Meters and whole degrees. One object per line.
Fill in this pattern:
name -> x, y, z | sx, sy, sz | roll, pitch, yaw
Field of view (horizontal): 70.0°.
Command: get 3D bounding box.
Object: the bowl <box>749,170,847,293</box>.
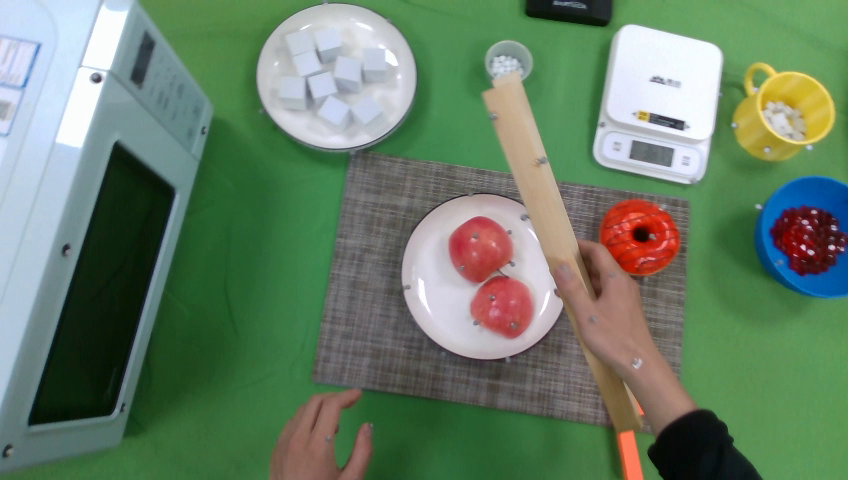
bowl -> 0.470, -0.004, 0.759 | 0.151, 0.077, 0.150 | 0, 79, -2

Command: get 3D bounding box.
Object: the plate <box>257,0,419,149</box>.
plate -> -0.111, -0.216, 0.799 | 0.208, 0.039, 0.206 | 1, 79, -2

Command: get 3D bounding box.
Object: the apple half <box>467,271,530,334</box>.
apple half -> 0.093, 0.073, 0.739 | 0.081, 0.033, 0.081 | 0, 80, 1

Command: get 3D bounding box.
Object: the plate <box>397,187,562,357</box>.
plate -> 0.070, 0.040, 0.751 | 0.209, 0.038, 0.208 | 1, 79, -2

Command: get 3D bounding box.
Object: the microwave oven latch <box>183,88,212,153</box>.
microwave oven latch -> -0.290, -0.152, 0.760 | 0.030, 0.029, 0.079 | 13, 79, 0

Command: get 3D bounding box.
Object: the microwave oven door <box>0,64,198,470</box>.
microwave oven door -> -0.331, 0.037, 0.618 | 0.039, 0.244, 0.354 | 11, 78, 1

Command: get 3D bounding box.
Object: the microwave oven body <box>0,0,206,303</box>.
microwave oven body -> -0.467, -0.031, 0.631 | 0.326, 0.261, 0.440 | 11, 79, 0

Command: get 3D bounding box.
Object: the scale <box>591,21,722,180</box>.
scale -> 0.312, -0.188, 0.813 | 0.148, 0.031, 0.200 | 13, 79, 1

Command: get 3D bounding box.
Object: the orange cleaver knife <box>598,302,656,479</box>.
orange cleaver knife -> 0.244, 0.182, 0.739 | 0.077, 0.012, 0.210 | -8, 78, -10

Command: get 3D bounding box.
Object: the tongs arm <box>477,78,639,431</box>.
tongs arm -> 0.135, 0.032, 0.573 | 0.026, 0.050, 0.387 | -20, 106, 14

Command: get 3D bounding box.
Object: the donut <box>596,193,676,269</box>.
donut -> 0.266, -0.011, 0.765 | 0.099, 0.048, 0.098 | 0, 78, 0

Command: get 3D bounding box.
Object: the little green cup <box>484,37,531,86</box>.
little green cup -> 0.109, -0.235, 0.811 | 0.061, 0.039, 0.061 | 0, 78, -2

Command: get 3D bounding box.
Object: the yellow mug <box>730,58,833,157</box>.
yellow mug -> 0.461, -0.181, 0.799 | 0.100, 0.064, 0.130 | -24, 79, -6

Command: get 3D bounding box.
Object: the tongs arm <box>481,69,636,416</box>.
tongs arm -> 0.140, 0.018, 0.606 | 0.028, 0.028, 0.389 | -21, 106, 11

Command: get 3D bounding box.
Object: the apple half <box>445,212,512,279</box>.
apple half -> 0.067, 0.002, 0.743 | 0.081, 0.053, 0.074 | -29, 77, -8
